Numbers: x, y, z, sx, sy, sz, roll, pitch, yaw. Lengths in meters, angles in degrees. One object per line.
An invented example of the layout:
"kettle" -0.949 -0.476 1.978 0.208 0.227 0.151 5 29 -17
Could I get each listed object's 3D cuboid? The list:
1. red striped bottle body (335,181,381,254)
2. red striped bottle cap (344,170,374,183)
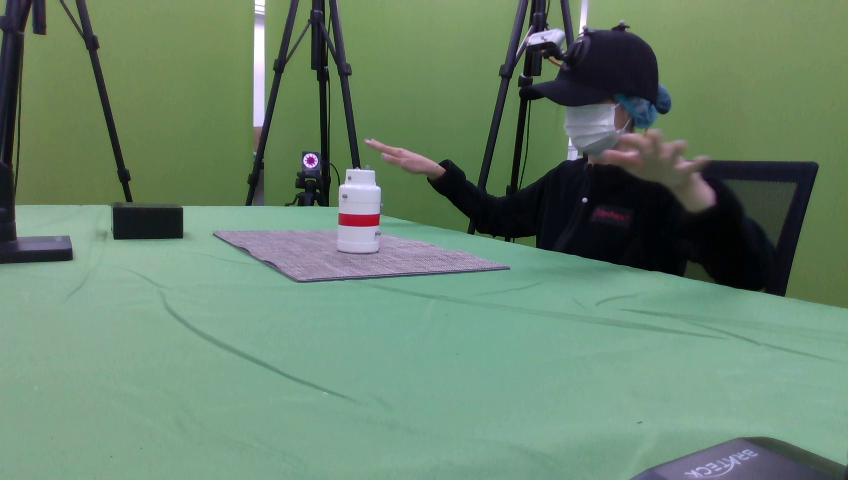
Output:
"red striped bottle body" -0.097 -0.042 0.894 0.063 0.119 0.063 4 8 0
"red striped bottle cap" -0.094 -0.093 0.887 0.044 0.017 0.044 5 5 0
